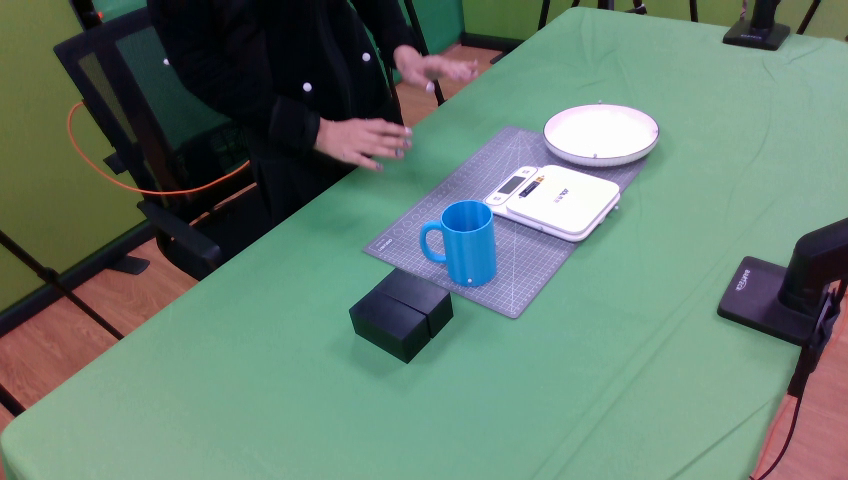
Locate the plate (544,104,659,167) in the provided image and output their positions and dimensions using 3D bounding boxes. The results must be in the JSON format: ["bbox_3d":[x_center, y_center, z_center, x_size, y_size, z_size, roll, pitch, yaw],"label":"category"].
[{"bbox_3d":[0.328,-0.192,1.131,0.209,0.038,0.208,-4,39,4],"label":"plate"}]

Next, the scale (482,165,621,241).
[{"bbox_3d":[0.211,-0.070,1.014,0.199,0.032,0.149,23,49,33],"label":"scale"}]

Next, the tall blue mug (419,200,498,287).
[{"bbox_3d":[0.053,0.010,0.889,0.107,0.108,0.077,-15,41,-7],"label":"tall blue mug"}]
